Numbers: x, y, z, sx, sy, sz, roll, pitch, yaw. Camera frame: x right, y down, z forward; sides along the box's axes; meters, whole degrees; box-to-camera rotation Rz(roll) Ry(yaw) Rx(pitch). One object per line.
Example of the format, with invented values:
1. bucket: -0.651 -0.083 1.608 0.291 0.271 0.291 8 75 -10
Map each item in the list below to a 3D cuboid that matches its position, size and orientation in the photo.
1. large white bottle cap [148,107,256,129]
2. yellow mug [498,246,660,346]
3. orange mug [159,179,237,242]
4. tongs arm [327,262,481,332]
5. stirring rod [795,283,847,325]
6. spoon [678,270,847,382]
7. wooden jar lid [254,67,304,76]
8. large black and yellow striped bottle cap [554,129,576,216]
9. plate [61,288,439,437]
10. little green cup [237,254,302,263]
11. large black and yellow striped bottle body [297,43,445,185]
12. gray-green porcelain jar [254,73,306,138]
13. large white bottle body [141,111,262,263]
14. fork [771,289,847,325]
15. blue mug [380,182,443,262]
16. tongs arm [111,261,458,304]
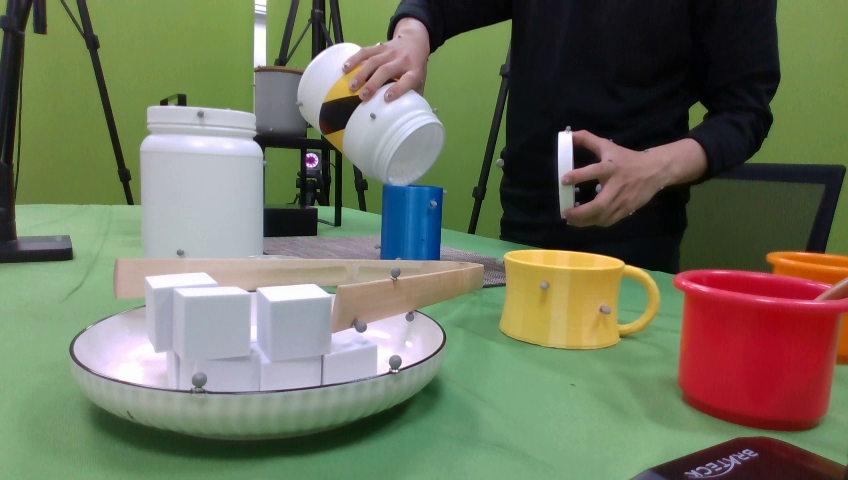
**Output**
1. large white bottle cap: -0.250 -0.137 0.686 0.115 0.018 0.115 3 8 0
2. yellow mug: 0.130 0.045 0.508 0.131 0.064 0.100 4 7 6
3. orange mug: -0.368 -0.052 0.991 0.127 0.101 0.083 -10 14 -41
4. tongs arm: -0.003 0.036 0.493 0.050 0.026 0.386 1 0 19
5. stirring rod: 0.346 0.019 0.460 0.014 0.176 0.006 -17 59 -26
6. spoon: 0.229 0.031 0.338 0.193 0.021 0.042 -44 -17 27
7. wooden jar lid: -0.296 -0.339 1.251 0.108 0.020 0.108 1 7 0
8. large black and yellow striped bottle cap: 0.187 -0.089 0.800 0.019 0.115 0.115 -1 6 19
9. plate: -0.095 0.069 0.362 0.208 0.039 0.207 3 7 0
10. little green cup: -0.150 0.037 0.590 0.061 0.038 0.061 3 7 0
11. large black and yellow striped bottle body: -0.072 -0.170 0.834 0.183 0.130 0.131 43 26 22
12. gray-green porcelain jar: -0.298 -0.277 1.259 0.106 0.126 0.106 3 7 0
13. large white bottle body: -0.254 -0.054 0.697 0.131 0.184 0.130 2 7 0
14. fork: 0.335 0.018 0.443 0.028 0.018 0.207 -1 -36 -20
15. blue mug: -0.020 -0.026 0.833 0.082 0.106 0.116 1 7 -7
16. tongs arm: -0.080 0.032 0.527 0.028 0.027 0.389 -3 -3 33
